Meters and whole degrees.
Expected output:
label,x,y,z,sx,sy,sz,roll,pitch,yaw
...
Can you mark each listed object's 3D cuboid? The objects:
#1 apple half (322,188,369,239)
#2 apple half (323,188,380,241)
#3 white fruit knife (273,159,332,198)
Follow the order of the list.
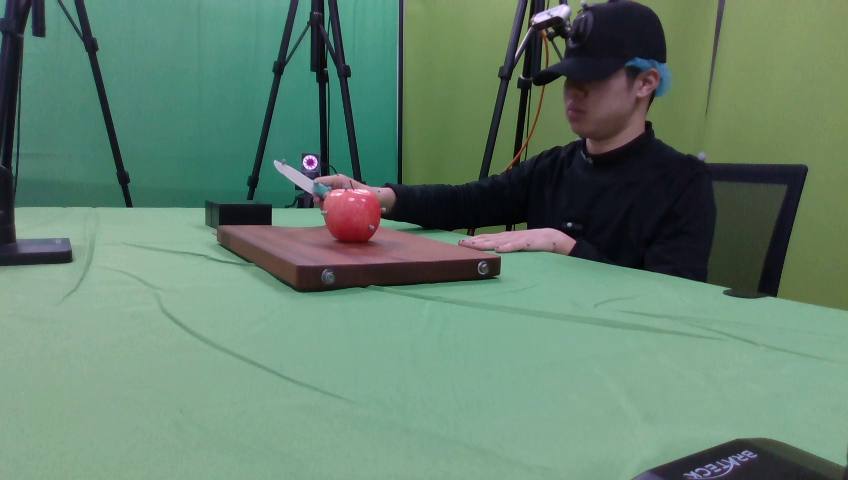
label,x,y,z,sx,sy,sz,roll,pitch,yaw
apple half,-0.119,-0.040,0.868,0.082,0.081,0.032,-4,13,-41
apple half,-0.094,-0.034,0.839,0.081,0.074,0.053,1,11,-41
white fruit knife,-0.196,-0.095,1.068,0.016,0.027,0.208,16,-10,33
